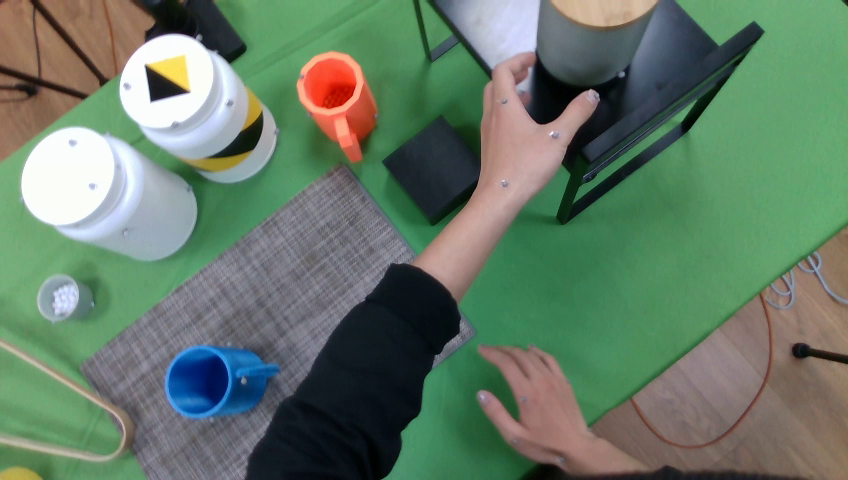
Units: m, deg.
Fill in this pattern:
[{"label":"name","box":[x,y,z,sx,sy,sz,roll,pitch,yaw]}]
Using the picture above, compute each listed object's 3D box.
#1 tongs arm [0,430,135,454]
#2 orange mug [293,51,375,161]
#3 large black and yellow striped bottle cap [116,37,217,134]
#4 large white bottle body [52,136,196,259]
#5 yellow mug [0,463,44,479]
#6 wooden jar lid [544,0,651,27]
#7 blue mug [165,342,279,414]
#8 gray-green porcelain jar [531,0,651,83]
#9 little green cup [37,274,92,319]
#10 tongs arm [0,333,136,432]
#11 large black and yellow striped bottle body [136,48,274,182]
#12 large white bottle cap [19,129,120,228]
[{"label":"tongs arm","box":[-0.576,0.229,0.794,0.385,0.026,0.050,14,77,2]},{"label":"orange mug","box":[-0.114,-0.173,0.809,0.083,0.101,0.125,-16,73,4]},{"label":"large black and yellow striped bottle cap","box":[-0.298,-0.180,0.701,0.115,0.019,0.114,-1,78,5]},{"label":"large white bottle body","box":[-0.393,-0.054,0.773,0.130,0.185,0.130,-1,78,7]},{"label":"yellow mug","box":[-0.549,0.358,0.771,0.100,0.064,0.130,-1,80,6]},{"label":"wooden jar lid","box":[0.151,-0.234,0.528,0.108,0.021,0.108,-1,81,6]},{"label":"blue mug","box":[-0.238,0.166,0.749,0.116,0.106,0.082,-13,77,4]},{"label":"gray-green porcelain jar","box":[0.159,-0.221,0.589,0.106,0.127,0.105,-1,79,7]},{"label":"little green cup","box":[-0.492,0.079,0.833,0.061,0.039,0.061,-1,79,6]},{"label":"tongs arm","box":[-0.549,0.151,0.810,0.387,0.028,0.028,27,74,4]},{"label":"large black and yellow striped bottle body","box":[-0.287,-0.162,0.782,0.130,0.185,0.130,-1,78,7]},{"label":"large white bottle cap","box":[-0.404,-0.071,0.690,0.115,0.018,0.114,-1,79,7]}]
